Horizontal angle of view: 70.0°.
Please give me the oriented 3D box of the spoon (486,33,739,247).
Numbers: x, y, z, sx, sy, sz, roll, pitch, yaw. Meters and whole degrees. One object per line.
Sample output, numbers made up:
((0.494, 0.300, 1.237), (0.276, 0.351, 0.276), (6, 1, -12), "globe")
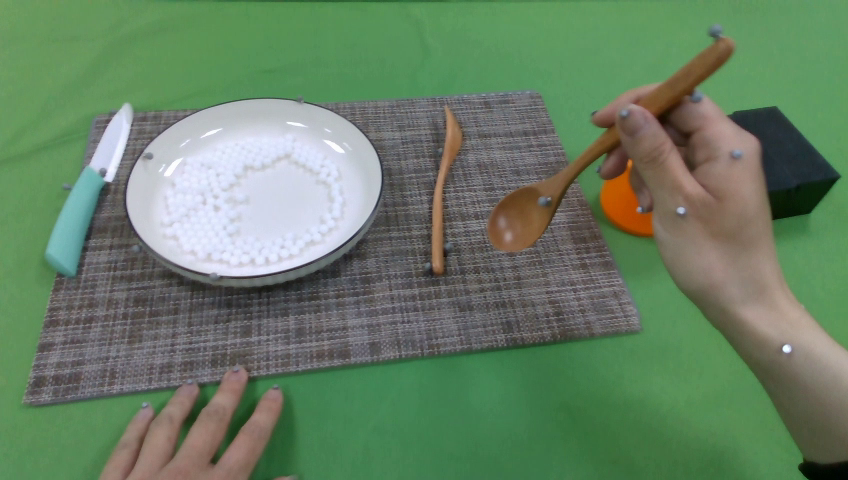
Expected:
((0.097, -0.049, 0.354), (0.022, 0.194, 0.041), (-1, 64, -31), "spoon")

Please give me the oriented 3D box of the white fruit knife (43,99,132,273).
((-0.288, -0.058, 0.529), (0.027, 0.016, 0.205), (20, 45, -25), "white fruit knife")

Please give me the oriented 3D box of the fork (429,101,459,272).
((0.016, -0.056, 0.551), (0.018, 0.028, 0.205), (-12, 49, 26), "fork")

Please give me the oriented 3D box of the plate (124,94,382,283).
((-0.139, -0.045, 0.517), (0.209, 0.038, 0.207), (3, 51, -3), "plate")
